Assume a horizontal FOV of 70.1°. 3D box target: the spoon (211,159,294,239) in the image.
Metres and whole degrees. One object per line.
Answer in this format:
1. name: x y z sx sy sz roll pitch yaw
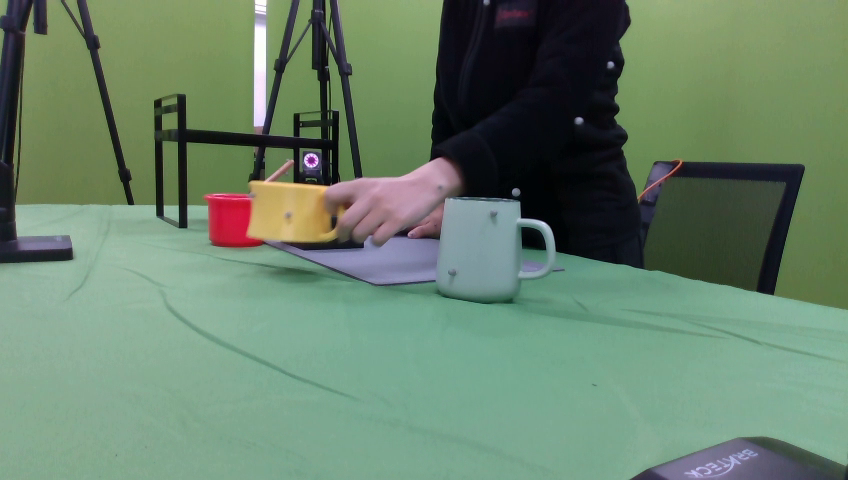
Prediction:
1. spoon: -0.270 -0.069 0.969 0.041 0.022 0.194 6 52 41

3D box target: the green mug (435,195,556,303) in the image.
1. green mug: 0.074 0.009 0.623 0.125 0.105 0.093 5 7 24

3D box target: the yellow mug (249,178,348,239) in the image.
1. yellow mug: -0.143 -0.037 0.717 0.130 0.064 0.100 8 6 29
